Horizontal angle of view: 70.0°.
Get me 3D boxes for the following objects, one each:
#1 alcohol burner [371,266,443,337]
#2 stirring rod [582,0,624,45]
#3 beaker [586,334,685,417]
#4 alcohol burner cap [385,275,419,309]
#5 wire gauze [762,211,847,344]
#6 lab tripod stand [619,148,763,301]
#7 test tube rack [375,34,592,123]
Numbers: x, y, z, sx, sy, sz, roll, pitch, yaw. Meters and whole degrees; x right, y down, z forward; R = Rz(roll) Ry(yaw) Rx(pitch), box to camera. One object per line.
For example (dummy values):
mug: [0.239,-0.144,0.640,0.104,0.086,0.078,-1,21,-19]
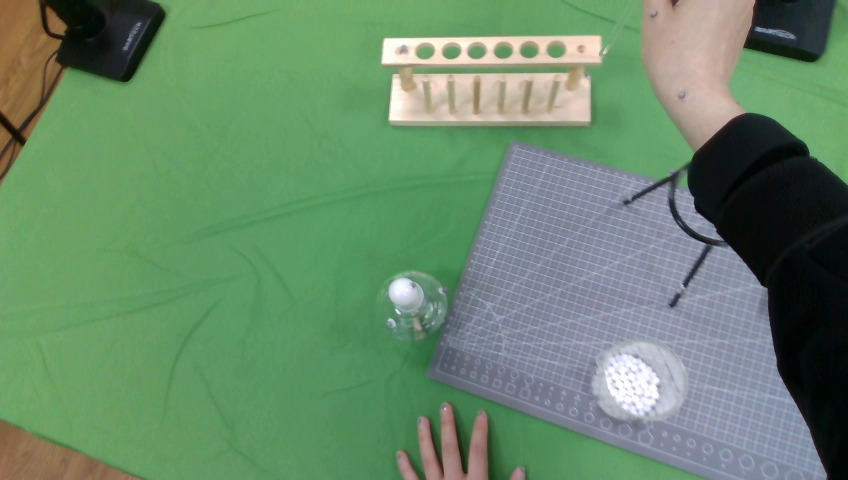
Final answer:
alcohol burner: [-0.019,0.061,0.634,0.078,0.120,0.077,-1,71,4]
stirring rod: [0.158,-0.202,0.443,0.006,0.176,0.014,-30,79,-20]
beaker: [0.199,0.135,0.595,0.083,0.101,0.074,24,76,13]
alcohol burner cap: [-0.024,0.049,0.600,0.034,0.048,0.033,-1,76,6]
wire gauze: [0.435,0.042,0.648,0.125,0.011,0.121,22,76,9]
lab tripod stand: [0.272,-0.021,0.617,0.148,0.132,0.147,-1,75,4]
test tube rack: [0.068,-0.188,0.715,0.242,0.086,0.066,1,73,6]
